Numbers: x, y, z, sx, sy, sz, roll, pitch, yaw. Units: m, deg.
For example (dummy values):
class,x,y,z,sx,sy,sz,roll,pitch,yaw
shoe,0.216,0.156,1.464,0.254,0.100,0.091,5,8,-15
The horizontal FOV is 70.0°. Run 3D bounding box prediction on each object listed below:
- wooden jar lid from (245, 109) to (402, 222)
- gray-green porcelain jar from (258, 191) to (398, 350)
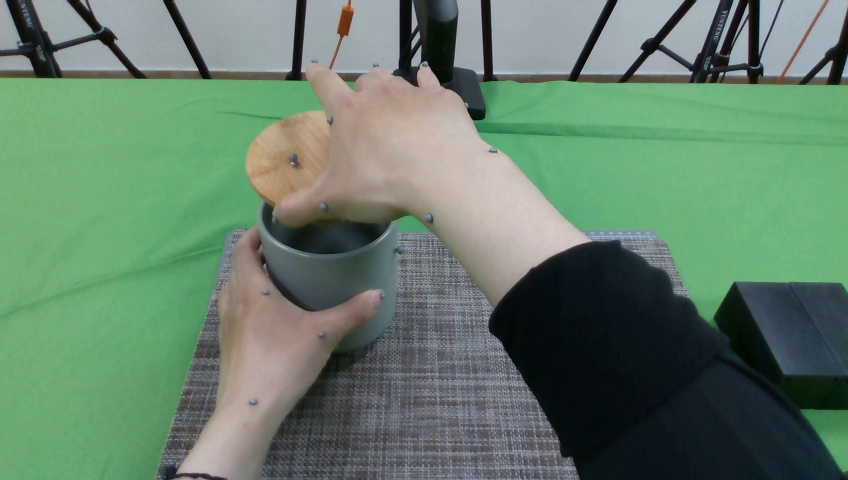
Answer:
class,x,y,z,sx,sy,sz,roll,pitch,yaw
wooden jar lid,-0.070,-0.052,0.428,0.108,0.021,0.107,4,49,-5
gray-green porcelain jar,-0.075,0.020,0.501,0.106,0.127,0.105,2,43,-2
